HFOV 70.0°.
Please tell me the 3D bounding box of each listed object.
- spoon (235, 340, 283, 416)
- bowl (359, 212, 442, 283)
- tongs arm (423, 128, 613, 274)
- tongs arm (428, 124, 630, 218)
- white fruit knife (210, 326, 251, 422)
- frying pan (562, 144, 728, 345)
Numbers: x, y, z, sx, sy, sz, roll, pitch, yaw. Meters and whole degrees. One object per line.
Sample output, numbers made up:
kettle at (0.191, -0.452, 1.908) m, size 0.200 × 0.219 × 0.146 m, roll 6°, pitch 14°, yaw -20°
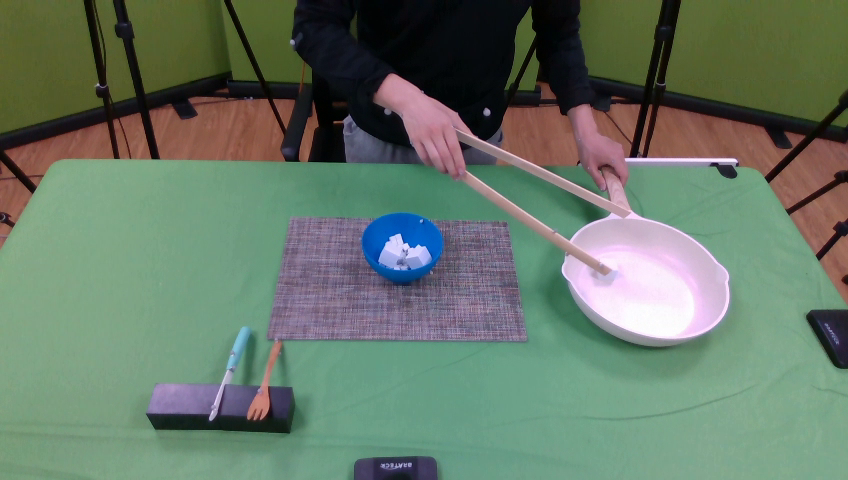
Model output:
spoon at (-0.245, 0.207, 0.932) m, size 0.042 × 0.022 × 0.193 m, roll 28°, pitch 25°, yaw -8°
bowl at (-0.044, 0.026, 1.125) m, size 0.151 × 0.077 × 0.150 m, roll 2°, pitch 46°, yaw -2°
tongs arm at (0.158, -0.065, 1.026) m, size 0.385 × 0.026 × 0.050 m, roll 32°, pitch 60°, yaw -1°
tongs arm at (0.187, -0.119, 1.064) m, size 0.388 × 0.028 × 0.028 m, roll 23°, pitch 64°, yaw -7°
white fruit knife at (-0.300, 0.201, 0.942) m, size 0.016 × 0.027 × 0.206 m, roll -3°, pitch 32°, yaw 1°
frying pan at (0.397, -0.008, 1.179) m, size 0.307 × 0.103 × 0.485 m, roll 1°, pitch 55°, yaw -4°
